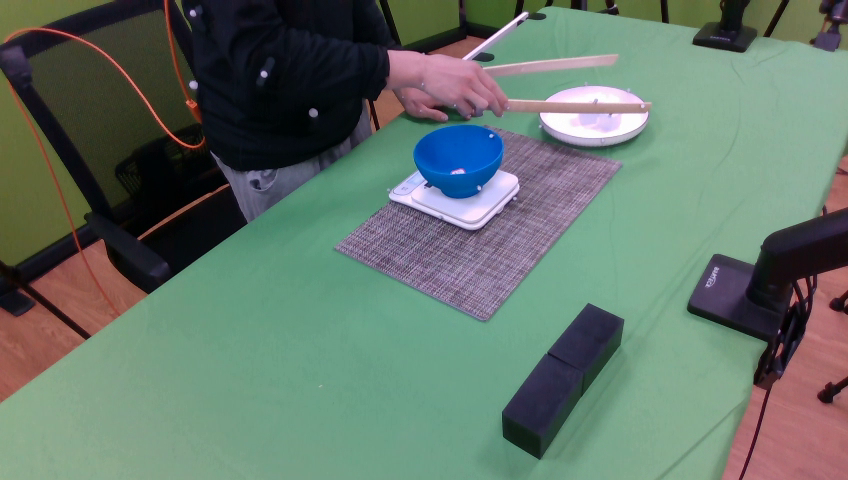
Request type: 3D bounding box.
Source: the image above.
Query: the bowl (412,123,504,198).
[{"bbox_3d":[0.060,-0.123,1.007,0.151,0.077,0.150,-5,41,5],"label":"bowl"}]

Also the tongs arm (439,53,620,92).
[{"bbox_3d":[0.197,-0.305,1.078,0.390,0.028,0.028,-14,67,-23],"label":"tongs arm"}]

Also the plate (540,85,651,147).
[{"bbox_3d":[0.333,-0.239,1.186,0.207,0.039,0.206,-4,41,4],"label":"plate"}]

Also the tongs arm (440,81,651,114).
[{"bbox_3d":[0.217,-0.244,1.043,0.387,0.026,0.050,-4,60,-18],"label":"tongs arm"}]

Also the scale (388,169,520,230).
[{"bbox_3d":[0.050,-0.090,1.052,0.199,0.032,0.149,24,49,31],"label":"scale"}]
